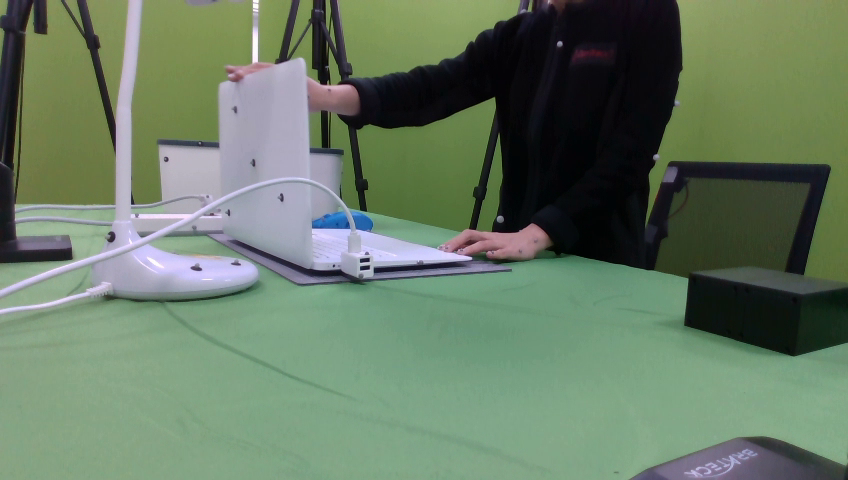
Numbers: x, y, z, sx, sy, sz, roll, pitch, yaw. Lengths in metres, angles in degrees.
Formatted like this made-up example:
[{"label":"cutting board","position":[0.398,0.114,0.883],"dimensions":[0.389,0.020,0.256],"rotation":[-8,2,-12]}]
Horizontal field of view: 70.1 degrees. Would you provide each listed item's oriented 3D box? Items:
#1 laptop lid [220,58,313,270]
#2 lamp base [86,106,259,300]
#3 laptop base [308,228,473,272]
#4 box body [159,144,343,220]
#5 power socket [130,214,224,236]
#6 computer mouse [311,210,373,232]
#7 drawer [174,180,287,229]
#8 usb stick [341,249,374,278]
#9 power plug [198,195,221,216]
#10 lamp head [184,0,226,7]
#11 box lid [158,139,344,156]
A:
[{"label":"laptop lid","position":[-0.221,-0.103,0.803],"dimensions":[0.013,0.241,0.355],"rotation":[-3,11,-33]},{"label":"lamp base","position":[-0.254,-0.039,0.603],"dimensions":[0.160,0.180,0.179],"rotation":[5,10,18]},{"label":"laptop base","position":[-0.124,0.011,0.889],"dimensions":[0.237,0.023,0.352],"rotation":[2,6,-35]},{"label":"box body","position":[-0.364,-0.128,1.337],"dimensions":[0.365,0.160,0.253],"rotation":[2,7,-8]},{"label":"power socket","position":[-0.397,-0.028,1.048],"dimensions":[0.228,0.032,0.072],"rotation":[-3,7,-35]},{"label":"computer mouse","position":[-0.157,-0.034,1.139],"dimensions":[0.118,0.041,0.062],"rotation":[-6,12,-28]},{"label":"drawer","position":[-0.413,-0.080,1.325],"dimensions":[0.212,0.073,0.194],"rotation":[-8,11,-8]},{"label":"usb stick","position":[-0.079,0.026,0.686],"dimensions":[0.021,0.027,0.059],"rotation":[-7,8,-30]},{"label":"power plug","position":[-0.386,-0.055,1.088],"dimensions":[0.035,0.052,0.072],"rotation":[-1,6,-23]},{"label":"lamp head","position":[-0.229,-0.320,0.627],"dimensions":[0.112,0.112,0.123],"rotation":[6,-35,26]},{"label":"box lid","position":[-0.363,-0.201,1.328],"dimensions":[0.372,0.015,0.262],"rotation":[2,7,-8]}]
